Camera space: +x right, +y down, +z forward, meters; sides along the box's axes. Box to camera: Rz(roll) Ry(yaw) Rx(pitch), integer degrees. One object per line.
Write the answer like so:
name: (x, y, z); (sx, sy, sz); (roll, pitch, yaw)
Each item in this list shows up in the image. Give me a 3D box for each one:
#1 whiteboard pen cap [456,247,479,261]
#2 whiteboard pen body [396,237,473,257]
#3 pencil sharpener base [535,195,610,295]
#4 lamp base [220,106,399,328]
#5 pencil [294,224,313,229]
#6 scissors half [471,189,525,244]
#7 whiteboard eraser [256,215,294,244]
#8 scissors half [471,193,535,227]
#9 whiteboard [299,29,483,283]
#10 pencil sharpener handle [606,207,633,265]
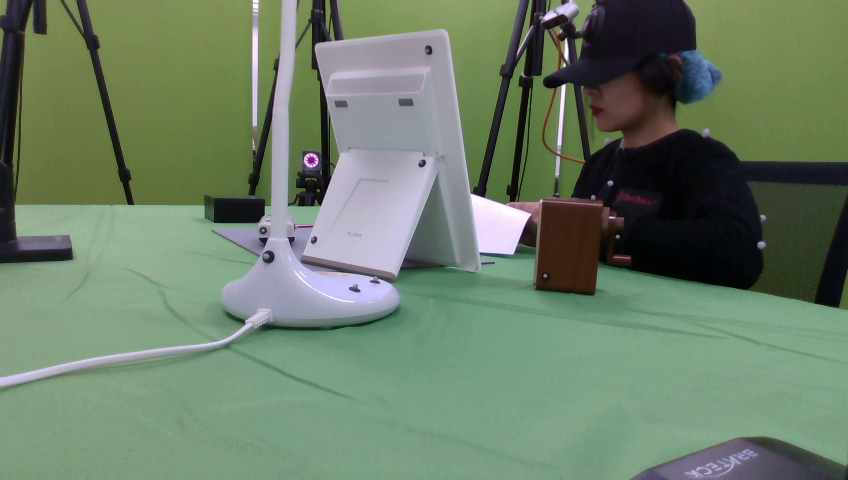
whiteboard pen cap: (0.060, 0.020, 0.851); (0.033, 0.018, 0.018); (10, 10, 37)
whiteboard pen body: (0.014, 0.012, 0.886); (0.140, 0.017, 0.017); (10, 10, 38)
pencil sharpener base: (0.172, 0.005, 0.696); (0.076, 0.107, 0.061); (5, 8, 16)
lamp base: (-0.101, -0.023, 0.531); (0.160, 0.180, 0.179); (4, 10, 10)
pencil: (-0.220, -0.028, 1.210); (0.195, 0.012, 0.012); (-5, 10, -34)
scissors half: (0.126, -0.049, 1.143); (0.176, 0.040, 0.012); (42, 2, -22)
whiteboard eraser: (-0.232, -0.016, 0.951); (0.056, 0.042, 0.112); (2, 7, -12)
scissors half: (0.138, -0.067, 1.142); (0.176, 0.040, 0.013); (18, 6, -20)
whiteboard: (-0.074, -0.082, 0.742); (0.216, 0.305, 0.144); (9, 30, 38)
pencil sharpener handle: (0.223, -0.004, 0.683); (0.030, 0.068, 0.036); (5, 20, 17)
